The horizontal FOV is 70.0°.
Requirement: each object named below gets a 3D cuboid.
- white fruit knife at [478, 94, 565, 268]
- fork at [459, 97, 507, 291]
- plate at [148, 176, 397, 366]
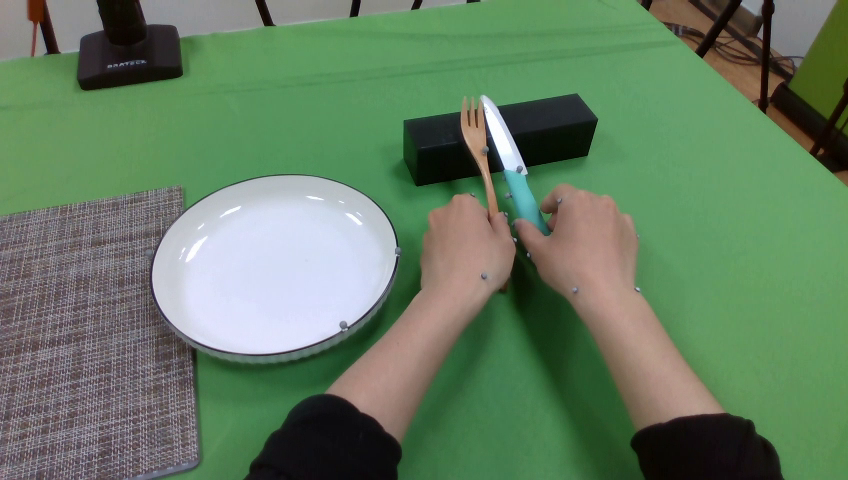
[{"bbox_3d":[0.090,-0.063,0.603,0.027,0.016,0.205,-10,66,-20],"label":"white fruit knife"},{"bbox_3d":[0.058,-0.050,0.583,0.028,0.018,0.205,4,63,-25],"label":"fork"},{"bbox_3d":[-0.128,0.025,0.533,0.208,0.039,0.205,2,47,-2],"label":"plate"}]
